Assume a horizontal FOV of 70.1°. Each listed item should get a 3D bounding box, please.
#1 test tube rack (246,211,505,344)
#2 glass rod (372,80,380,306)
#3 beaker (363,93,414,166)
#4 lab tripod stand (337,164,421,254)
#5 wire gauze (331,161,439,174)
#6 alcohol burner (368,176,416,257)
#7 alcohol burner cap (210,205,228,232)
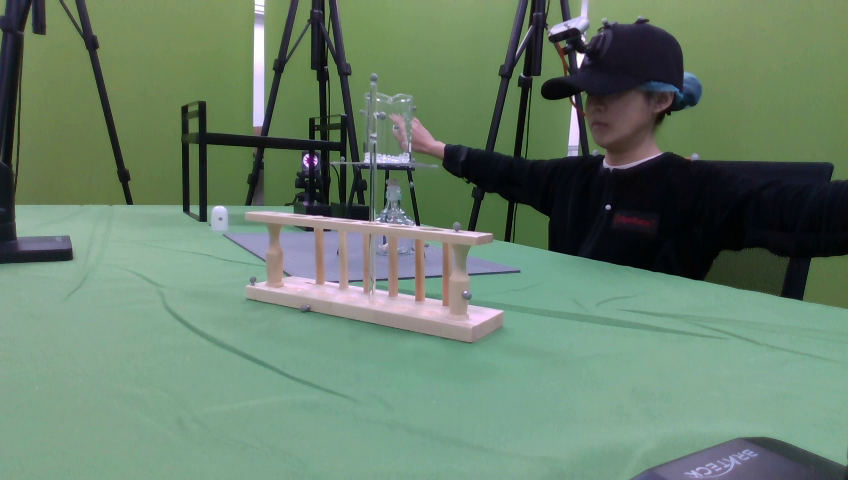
[{"bbox_3d":[-0.049,0.025,0.547,0.241,0.085,0.067,7,8,29],"label":"test tube rack"},{"bbox_3d":[-0.041,-0.039,0.530,0.008,0.199,0.008,0,2,0],"label":"glass rod"},{"bbox_3d":[-0.052,-0.157,0.871,0.074,0.100,0.084,1,6,-10],"label":"beaker"},{"bbox_3d":[-0.061,-0.045,0.894,0.148,0.131,0.148,1,6,0],"label":"lab tripod stand"},{"bbox_3d":[-0.054,-0.109,0.884,0.121,0.011,0.125,6,5,18],"label":"wire gauze"},{"bbox_3d":[-0.046,-0.035,0.896,0.078,0.119,0.078,3,5,0],"label":"alcohol burner"},{"bbox_3d":[-0.376,-0.040,1.107,0.034,0.048,0.034,2,7,0],"label":"alcohol burner cap"}]
